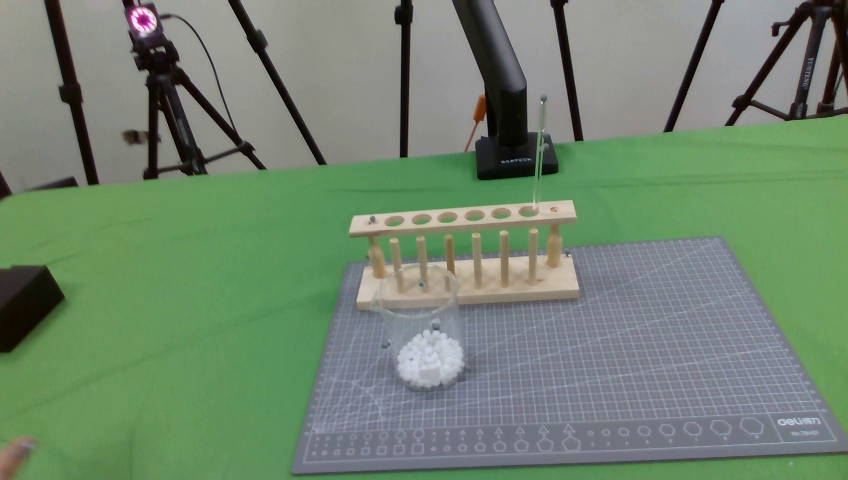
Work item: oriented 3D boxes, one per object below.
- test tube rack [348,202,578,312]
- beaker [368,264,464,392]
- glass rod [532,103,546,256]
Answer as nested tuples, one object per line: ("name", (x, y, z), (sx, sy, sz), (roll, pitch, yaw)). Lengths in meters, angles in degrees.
("test tube rack", (0.042, 0.019, 0.663), (0.242, 0.086, 0.066), (-4, 34, 7))
("beaker", (-0.003, 0.085, 0.563), (0.084, 0.101, 0.073), (-16, 34, -9))
("glass rod", (0.117, -0.047, 0.625), (0.008, 0.201, 0.008), (-3, 37, 2))
